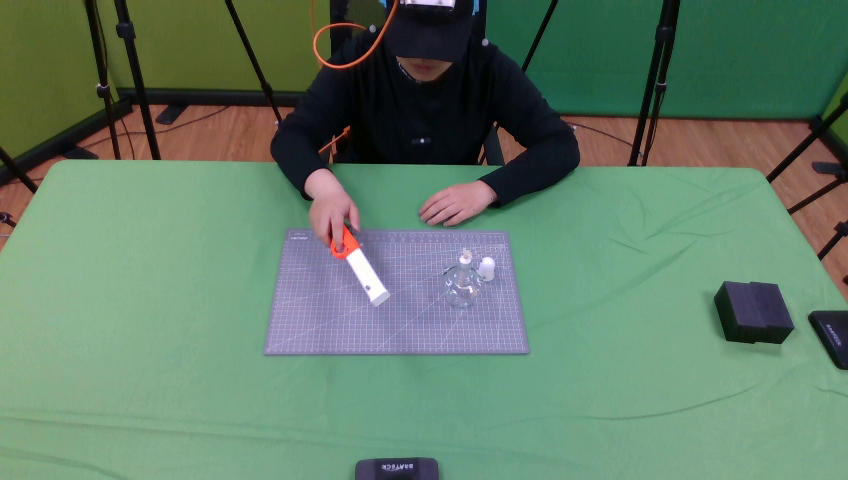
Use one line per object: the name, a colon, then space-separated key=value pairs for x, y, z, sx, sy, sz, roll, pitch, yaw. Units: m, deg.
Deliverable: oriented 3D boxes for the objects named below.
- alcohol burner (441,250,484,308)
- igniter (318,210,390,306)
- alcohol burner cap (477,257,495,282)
alcohol burner: x=0.069 y=0.064 z=1.075 sx=0.078 sy=0.120 sz=0.077 roll=1 pitch=45 yaw=-1
igniter: x=-0.128 y=0.021 z=1.057 sx=0.057 sy=0.025 sz=0.274 roll=-38 pitch=43 yaw=-2
alcohol burner cap: x=0.118 y=0.053 z=1.140 sx=0.034 sy=0.048 sz=0.033 roll=2 pitch=46 yaw=-2
